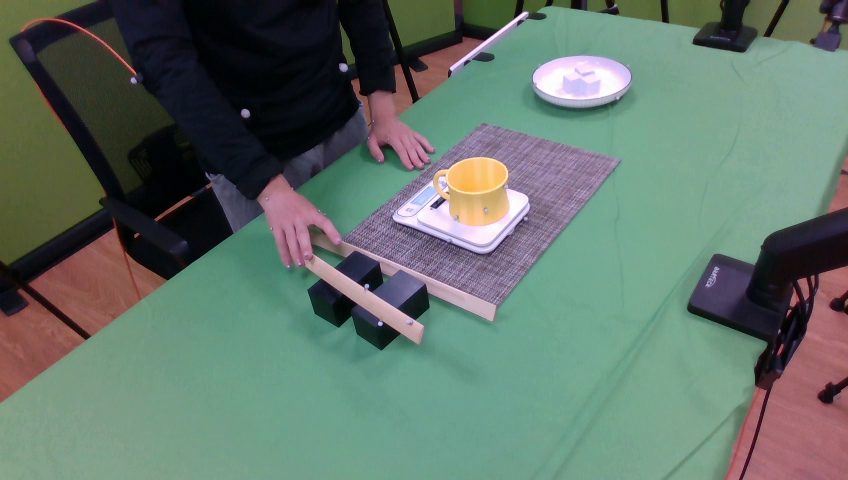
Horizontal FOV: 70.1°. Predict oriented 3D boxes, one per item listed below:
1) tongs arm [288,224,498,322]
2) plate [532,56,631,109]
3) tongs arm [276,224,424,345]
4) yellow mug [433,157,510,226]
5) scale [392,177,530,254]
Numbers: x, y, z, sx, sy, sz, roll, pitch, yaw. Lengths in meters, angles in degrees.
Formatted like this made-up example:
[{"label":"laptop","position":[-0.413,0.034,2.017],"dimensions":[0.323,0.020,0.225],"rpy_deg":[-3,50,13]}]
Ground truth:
[{"label":"tongs arm","position":[-0.060,0.043,0.918],"dimensions":[0.384,0.028,0.028],"rpy_deg":[21,24,29]},{"label":"plate","position":[0.336,-0.335,1.301],"dimensions":[0.207,0.039,0.206],"rpy_deg":[-4,41,4]},{"label":"tongs arm","position":[-0.115,0.050,0.856],"dimensions":[0.051,0.026,0.381],"rpy_deg":[-7,24,-43]},{"label":"yellow mug","position":[0.072,-0.082,0.968],"dimensions":[0.130,0.064,0.100],"rpy_deg":[13,45,24]},{"label":"scale","position":[0.060,-0.050,1.006],"dimensions":[0.199,0.032,0.149],"rpy_deg":[22,48,30]}]
